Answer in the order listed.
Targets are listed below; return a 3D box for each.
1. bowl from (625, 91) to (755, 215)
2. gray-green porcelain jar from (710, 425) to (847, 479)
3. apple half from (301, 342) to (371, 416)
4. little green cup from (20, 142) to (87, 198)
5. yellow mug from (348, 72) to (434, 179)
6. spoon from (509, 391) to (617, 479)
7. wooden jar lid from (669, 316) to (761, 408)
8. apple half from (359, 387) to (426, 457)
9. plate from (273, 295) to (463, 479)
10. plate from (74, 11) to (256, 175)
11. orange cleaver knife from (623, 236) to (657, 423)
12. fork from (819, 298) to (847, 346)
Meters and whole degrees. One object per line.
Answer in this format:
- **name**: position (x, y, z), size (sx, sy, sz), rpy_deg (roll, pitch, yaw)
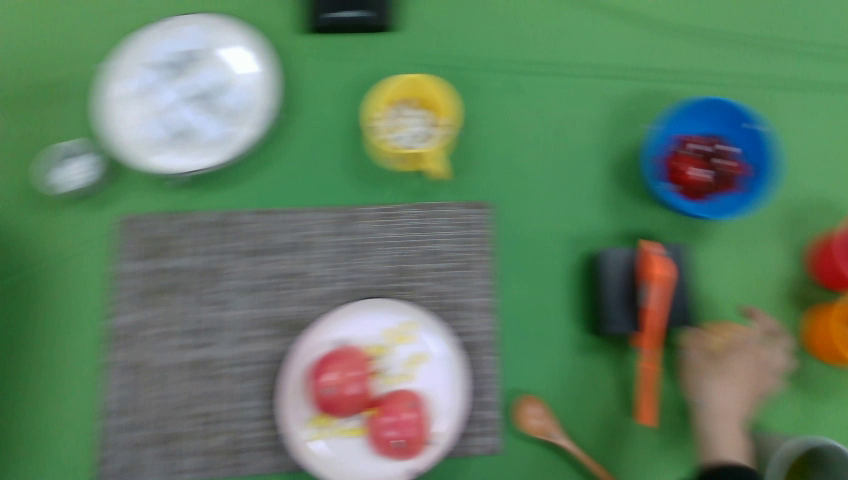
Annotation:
- **bowl**: position (0.310, -0.096, 0.741), size (0.151, 0.077, 0.150), rpy_deg (1, 79, -3)
- **gray-green porcelain jar**: position (0.383, 0.257, 0.653), size (0.106, 0.127, 0.105), rpy_deg (1, 78, -4)
- **apple half**: position (-0.098, 0.154, 0.666), size (0.075, 0.053, 0.080), rpy_deg (-6, 80, -2)
- **little green cup**: position (-0.429, -0.079, 0.707), size (0.061, 0.039, 0.061), rpy_deg (1, 80, -5)
- **yellow mug**: position (-0.032, -0.130, 0.731), size (0.100, 0.064, 0.130), rpy_deg (-32, 83, -9)
- **spoon**: position (0.173, 0.244, 0.694), size (0.193, 0.022, 0.041), rpy_deg (39, 61, 4)
- **wooden jar lid**: position (0.346, 0.146, 0.727), size (0.108, 0.021, 0.108), rpy_deg (0, 78, -1)
- **apple half**: position (-0.035, 0.203, 0.670), size (0.081, 0.033, 0.081), rpy_deg (1, 75, -3)
- **plate**: position (-0.062, 0.166, 0.682), size (0.209, 0.038, 0.208), rpy_deg (1, 80, -4)
- **plate**: position (-0.308, -0.175, 0.735), size (0.208, 0.039, 0.206), rpy_deg (1, 79, -4)
- **orange cleaver knife**: position (0.244, 0.103, 0.696), size (0.012, 0.077, 0.212), rpy_deg (-3, 103, -4)
- **fork**: position (0.487, 0.137, 0.672), size (0.028, 0.019, 0.205), rpy_deg (12, 35, -1)
